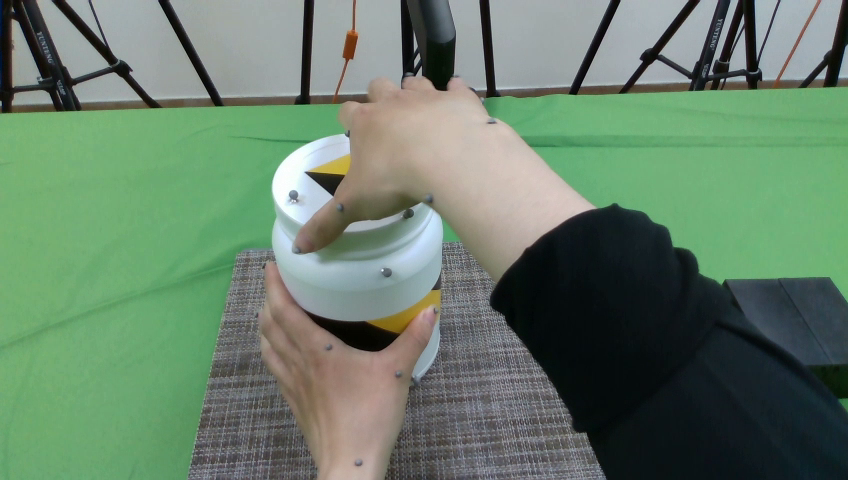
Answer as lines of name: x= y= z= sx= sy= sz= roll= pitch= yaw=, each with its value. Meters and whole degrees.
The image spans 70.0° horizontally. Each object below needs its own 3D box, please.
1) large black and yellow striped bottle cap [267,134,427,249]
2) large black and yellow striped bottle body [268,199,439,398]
large black and yellow striped bottle cap: x=-0.055 y=-0.039 z=0.436 sx=0.115 sy=0.019 sz=0.114 roll=1 pitch=44 yaw=-1
large black and yellow striped bottle body: x=-0.053 y=0.027 z=0.495 sx=0.131 sy=0.185 sz=0.129 roll=1 pitch=42 yaw=0
